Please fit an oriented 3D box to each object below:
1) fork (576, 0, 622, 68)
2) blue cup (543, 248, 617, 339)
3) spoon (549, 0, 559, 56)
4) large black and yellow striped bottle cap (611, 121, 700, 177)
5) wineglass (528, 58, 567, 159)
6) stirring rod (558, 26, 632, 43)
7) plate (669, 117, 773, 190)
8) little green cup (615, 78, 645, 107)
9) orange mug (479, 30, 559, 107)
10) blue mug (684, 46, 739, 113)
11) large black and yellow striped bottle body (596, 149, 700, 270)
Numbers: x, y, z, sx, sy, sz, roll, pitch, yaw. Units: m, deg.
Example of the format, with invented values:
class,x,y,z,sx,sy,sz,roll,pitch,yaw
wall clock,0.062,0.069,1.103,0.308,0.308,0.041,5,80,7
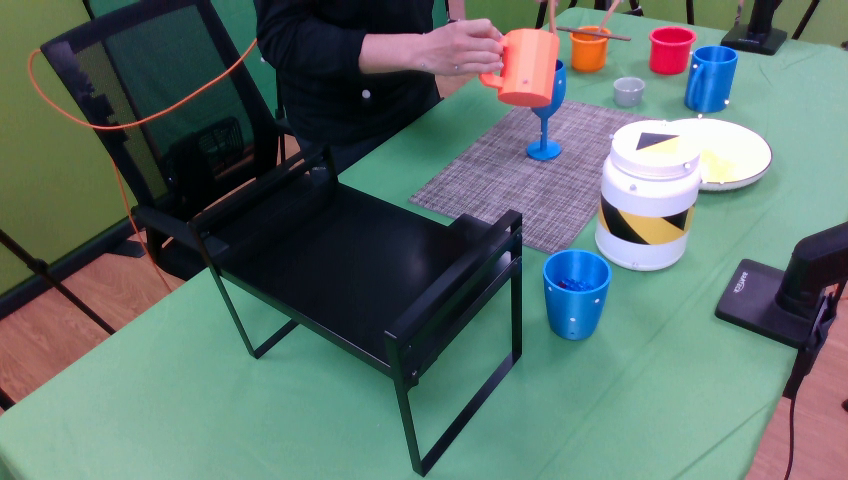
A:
class,x,y,z,sx,sy,sz,roll,pitch,yaw
fork,0.409,-0.484,1.381,0.028,0.019,0.207,37,101,46
blue cup,0.199,0.076,0.797,0.092,0.100,0.092,-4,39,4
spoon,0.219,-0.386,1.015,0.022,0.194,0.041,-3,15,-16
large black and yellow striped bottle cap,0.315,-0.126,0.823,0.115,0.019,0.114,-4,42,4
wineglass,0.221,-0.237,1.097,0.074,0.173,0.073,-4,41,4
stirring rod,0.381,-0.462,1.356,0.175,0.006,0.014,23,48,29
plate,0.495,-0.148,1.063,0.209,0.038,0.208,-5,40,4
little green cup,0.426,-0.306,1.257,0.061,0.039,0.061,-5,40,4
orange mug,0.148,-0.272,0.948,0.127,0.100,0.083,12,-2,-19
blue mug,0.556,-0.310,1.190,0.117,0.106,0.081,-32,46,-25
large black and yellow striped bottle body,0.323,-0.062,0.877,0.131,0.185,0.130,-5,40,4
